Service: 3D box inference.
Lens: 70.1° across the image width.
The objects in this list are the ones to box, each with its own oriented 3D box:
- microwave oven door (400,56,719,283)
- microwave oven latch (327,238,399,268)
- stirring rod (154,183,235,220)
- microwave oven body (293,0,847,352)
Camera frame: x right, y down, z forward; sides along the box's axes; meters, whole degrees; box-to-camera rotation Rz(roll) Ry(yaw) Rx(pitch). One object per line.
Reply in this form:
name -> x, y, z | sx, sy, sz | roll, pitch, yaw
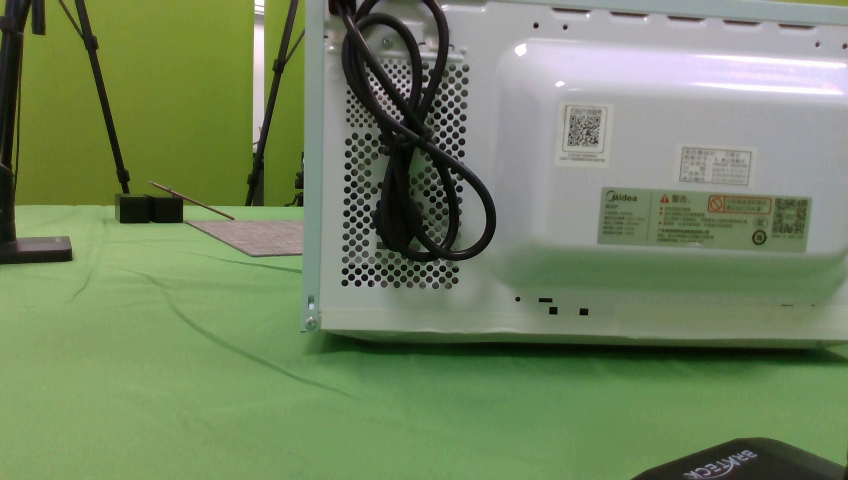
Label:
microwave oven door -> 0.155, -0.077, 0.698 | 0.356, 0.243, 0.039 | 2, 8, -5
microwave oven latch -> -0.069, 0.015, 0.694 | 0.079, 0.029, 0.030 | 3, 7, -3
stirring rod -> -0.472, -0.079, 1.252 | 0.177, 0.006, 0.014 | 27, 3, -35
microwave oven body -> 0.122, -0.055, 0.550 | 0.442, 0.260, 0.325 | 3, 7, -5
